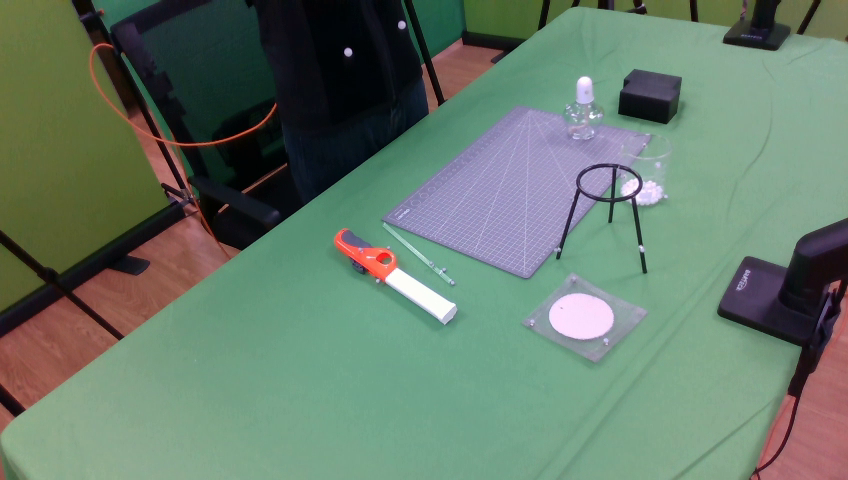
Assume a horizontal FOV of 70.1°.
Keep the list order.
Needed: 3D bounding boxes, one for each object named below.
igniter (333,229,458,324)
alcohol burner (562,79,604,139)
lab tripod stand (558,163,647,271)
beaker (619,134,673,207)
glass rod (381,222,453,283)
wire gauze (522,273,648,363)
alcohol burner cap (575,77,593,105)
[{"bbox_3d":[-0.055,0.049,0.929,0.057,0.025,0.274,-42,49,-20],"label":"igniter"},{"bbox_3d":[0.303,-0.253,1.147,0.078,0.119,0.077,-4,41,4],"label":"alcohol burner"},{"bbox_3d":[0.271,-0.034,0.885,0.148,0.132,0.147,-4,40,4],"label":"lab tripod stand"},{"bbox_3d":[0.357,-0.111,0.986,0.084,0.101,0.073,-10,40,1],"label":"beaker"},{"bbox_3d":[-0.014,0.017,0.976,0.008,0.008,0.198,-30,44,-22],"label":"glass rod"},{"bbox_3d":[0.220,0.105,0.828,0.125,0.011,0.120,-35,47,-30],"label":"wire gauze"},{"bbox_3d":[0.297,-0.279,1.123,0.034,0.048,0.033,-8,41,8],"label":"alcohol burner cap"}]
